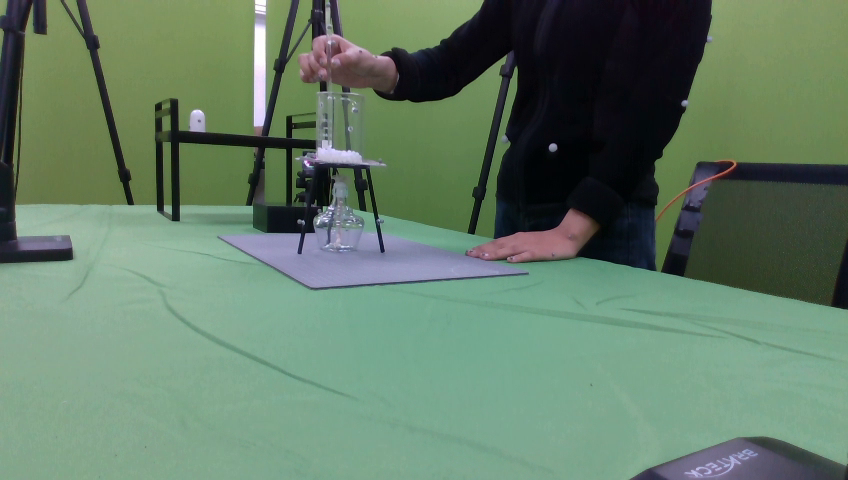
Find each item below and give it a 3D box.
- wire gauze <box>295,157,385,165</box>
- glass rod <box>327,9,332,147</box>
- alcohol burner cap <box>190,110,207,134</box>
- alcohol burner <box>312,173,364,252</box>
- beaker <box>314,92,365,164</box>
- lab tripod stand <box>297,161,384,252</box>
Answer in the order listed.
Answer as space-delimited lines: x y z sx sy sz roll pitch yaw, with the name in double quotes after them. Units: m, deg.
-0.128 -0.117 0.900 0.125 0.011 0.121 -1 7 -14 "wire gauze"
-0.139 -0.237 0.887 0.008 0.199 0.008 1 4 0 "glass rod"
-0.463 -0.242 1.240 0.034 0.048 0.034 2 7 0 "alcohol burner cap"
-0.129 -0.042 0.910 0.078 0.119 0.078 4 8 0 "alcohol burner"
-0.123 -0.163 0.893 0.073 0.100 0.084 8 9 30 "beaker"
-0.130 -0.051 0.903 0.148 0.131 0.148 4 9 0 "lab tripod stand"
